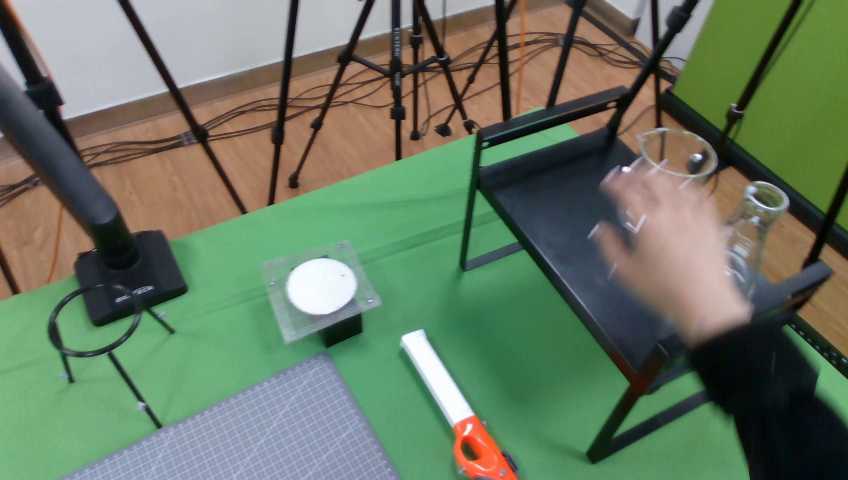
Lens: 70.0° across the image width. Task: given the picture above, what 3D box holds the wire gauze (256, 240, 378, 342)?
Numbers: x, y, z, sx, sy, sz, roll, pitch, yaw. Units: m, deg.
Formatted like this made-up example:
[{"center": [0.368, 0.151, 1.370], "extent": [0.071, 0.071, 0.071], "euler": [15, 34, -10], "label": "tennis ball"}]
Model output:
[{"center": [-0.134, 0.056, 0.750], "extent": [0.122, 0.011, 0.123], "euler": [-17, 53, -18], "label": "wire gauze"}]

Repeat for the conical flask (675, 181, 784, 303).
[{"center": [0.299, -0.001, 0.585], "extent": [0.075, 0.123, 0.074], "euler": [2, 49, -2], "label": "conical flask"}]

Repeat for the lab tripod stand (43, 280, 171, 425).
[{"center": [-0.338, 0.120, 0.663], "extent": [0.148, 0.132, 0.147], "euler": [4, 50, -4], "label": "lab tripod stand"}]

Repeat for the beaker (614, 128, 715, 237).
[{"center": [0.247, -0.059, 0.645], "extent": [0.083, 0.101, 0.074], "euler": [37, 57, 25], "label": "beaker"}]

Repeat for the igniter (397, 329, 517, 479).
[{"center": [0.045, 0.213, 0.683], "extent": [0.057, 0.025, 0.273], "euler": [-14, 52, -29], "label": "igniter"}]
